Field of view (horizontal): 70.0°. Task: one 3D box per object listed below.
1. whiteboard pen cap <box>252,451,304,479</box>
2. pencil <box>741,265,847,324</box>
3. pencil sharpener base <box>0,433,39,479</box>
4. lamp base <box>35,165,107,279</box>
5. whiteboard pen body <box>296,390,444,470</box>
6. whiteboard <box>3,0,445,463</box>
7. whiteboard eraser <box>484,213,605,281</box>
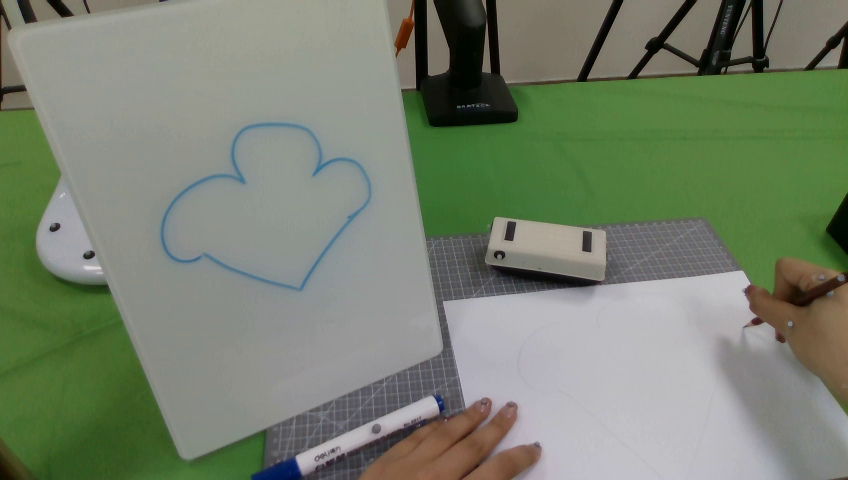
[{"bbox_3d":[-0.102,0.161,0.423,0.033,0.018,0.018,-20,46,-20],"label":"whiteboard pen cap"},{"bbox_3d":[0.291,0.037,0.453,0.012,0.195,0.012,2,66,-4],"label":"pencil"},{"bbox_3d":[-0.287,0.156,0.366,0.061,0.108,0.076,31,50,28],"label":"pencil sharpener base"},{"bbox_3d":[-0.316,-0.081,0.571,0.178,0.182,0.160,24,47,26],"label":"lamp base"},{"bbox_3d":[-0.049,0.143,0.444,0.141,0.017,0.017,-19,46,-19],"label":"whiteboard pen body"},{"bbox_3d":[-0.129,-0.030,0.471,0.218,0.308,0.142,-19,26,-20],"label":"whiteboard"},{"bbox_3d":[0.117,0.007,0.584,0.112,0.042,0.055,9,43,8],"label":"whiteboard eraser"}]
